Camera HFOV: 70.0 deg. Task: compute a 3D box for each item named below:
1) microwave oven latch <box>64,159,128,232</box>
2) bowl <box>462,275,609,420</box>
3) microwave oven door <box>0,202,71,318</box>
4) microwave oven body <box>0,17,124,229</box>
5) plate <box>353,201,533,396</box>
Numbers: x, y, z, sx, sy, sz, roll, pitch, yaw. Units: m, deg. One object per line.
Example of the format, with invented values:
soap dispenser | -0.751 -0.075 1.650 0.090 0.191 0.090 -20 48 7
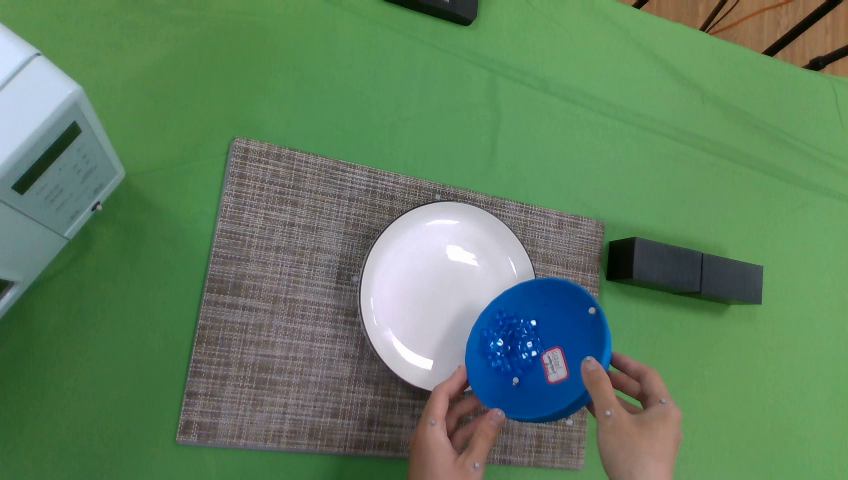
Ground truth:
microwave oven latch | -0.299 -0.046 0.537 0.030 0.029 0.079 40 73 -12
bowl | 0.122 0.119 0.612 0.077 0.150 0.151 45 69 -41
microwave oven door | -0.384 0.114 0.379 0.039 0.243 0.355 38 73 -12
microwave oven body | -0.476 -0.007 0.363 0.327 0.259 0.440 38 73 -13
plate | 0.022 0.062 0.659 0.208 0.039 0.207 3 83 -20
